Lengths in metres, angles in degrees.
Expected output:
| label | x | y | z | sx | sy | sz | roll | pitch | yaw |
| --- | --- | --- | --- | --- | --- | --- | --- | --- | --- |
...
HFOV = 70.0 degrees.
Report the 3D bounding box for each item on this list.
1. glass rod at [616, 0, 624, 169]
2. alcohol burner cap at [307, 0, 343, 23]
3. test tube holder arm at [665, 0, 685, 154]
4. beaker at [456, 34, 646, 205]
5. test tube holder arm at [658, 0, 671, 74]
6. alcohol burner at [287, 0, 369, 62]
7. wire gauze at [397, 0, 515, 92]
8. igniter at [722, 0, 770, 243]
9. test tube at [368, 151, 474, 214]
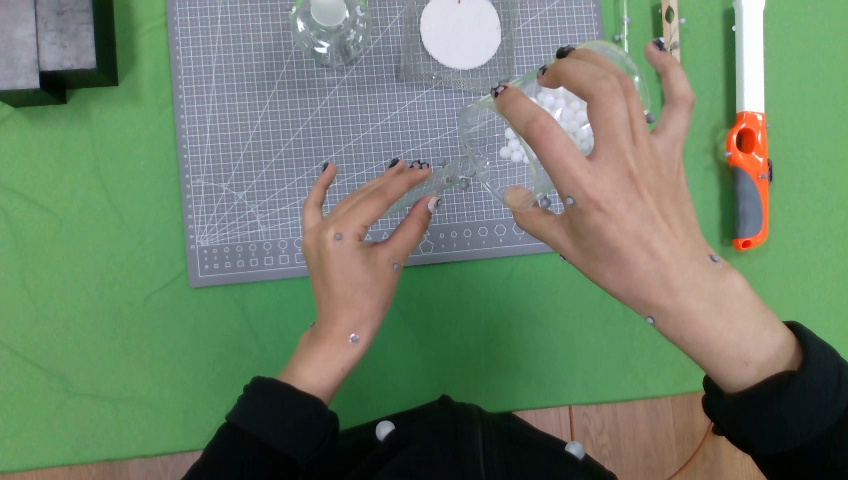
| label | x | y | z | sx | sy | sz | roll | pitch | yaw |
| --- | --- | --- | --- | --- | --- | --- | --- | --- | --- |
| glass rod | 0.212 | -0.176 | 0.653 | 0.008 | 0.008 | 0.199 | 0 | 90 | -6 |
| alcohol burner cap | -0.088 | -0.217 | 0.532 | 0.034 | 0.048 | 0.033 | 1 | 81 | -6 |
| test tube holder arm | 0.270 | -0.181 | 0.654 | 0.013 | 0.015 | 0.178 | -6 | 87 | 30 |
| beaker | 0.080 | -0.078 | 0.383 | 0.100 | 0.083 | 0.074 | -32 | 98 | -17 |
| test tube holder arm | 0.262 | -0.226 | 0.658 | 0.010 | 0.015 | 0.087 | -4 | 88 | 30 |
| alcohol burner | -0.091 | -0.214 | 0.568 | 0.078 | 0.119 | 0.078 | 0 | 87 | -4 |
| wire gauze | 0.036 | -0.224 | 0.635 | 0.125 | 0.011 | 0.121 | 6 | 88 | -7 |
| igniter | 0.349 | -0.134 | 0.657 | 0.057 | 0.025 | 0.276 | 2 | 87 | -16 |
| test tube | -0.008 | -0.042 | 0.471 | 0.017 | 0.150 | 0.017 | 6 | 78 | -29 |
